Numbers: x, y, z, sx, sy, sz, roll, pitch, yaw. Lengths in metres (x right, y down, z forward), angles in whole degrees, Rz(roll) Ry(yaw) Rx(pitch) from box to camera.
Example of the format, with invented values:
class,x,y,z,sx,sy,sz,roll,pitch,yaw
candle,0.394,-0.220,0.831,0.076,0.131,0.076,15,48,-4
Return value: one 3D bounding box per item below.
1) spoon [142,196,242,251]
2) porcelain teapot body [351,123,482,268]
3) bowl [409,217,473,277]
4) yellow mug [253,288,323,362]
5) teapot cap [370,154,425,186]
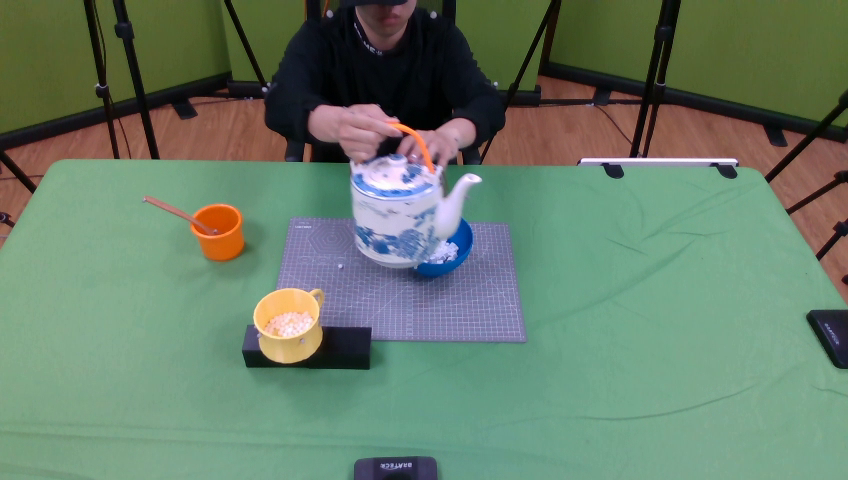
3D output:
class,x,y,z,sx,sy,sz,roll,pitch,yaw
spoon,-0.421,-0.032,1.108,0.021,0.195,0.041,-32,40,28
porcelain teapot body,-0.013,-0.074,0.952,0.205,0.226,0.144,7,36,9
bowl,0.014,0.016,1.140,0.151,0.077,0.150,2,46,-2
yellow mug,-0.205,0.124,0.963,0.099,0.064,0.130,27,48,20
teapot cap,-0.040,-0.109,0.933,0.085,0.044,0.084,2,34,-1
